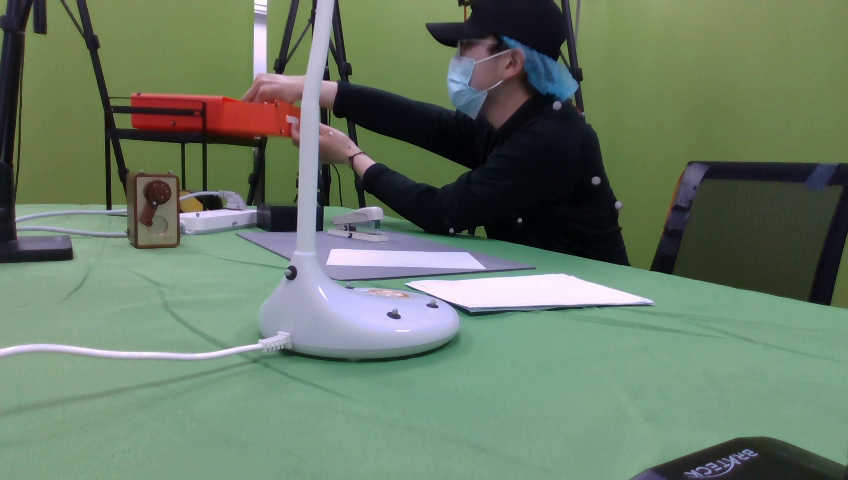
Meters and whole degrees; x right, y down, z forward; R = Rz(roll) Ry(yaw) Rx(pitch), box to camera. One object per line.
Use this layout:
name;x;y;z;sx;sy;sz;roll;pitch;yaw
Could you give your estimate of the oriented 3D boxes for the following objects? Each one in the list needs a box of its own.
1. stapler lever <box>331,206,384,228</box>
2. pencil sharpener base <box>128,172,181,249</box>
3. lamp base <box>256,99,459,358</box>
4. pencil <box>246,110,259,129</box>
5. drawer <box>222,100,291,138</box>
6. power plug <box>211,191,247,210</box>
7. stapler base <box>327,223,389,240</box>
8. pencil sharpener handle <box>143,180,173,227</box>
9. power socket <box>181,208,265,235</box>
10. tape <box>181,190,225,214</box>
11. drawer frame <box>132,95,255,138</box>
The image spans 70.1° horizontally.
stapler lever;-0.118;-0.043;1.070;0.117;0.040;0.027;7;8;41
pencil sharpener base;-0.395;-0.044;0.887;0.062;0.107;0.076;-2;9;-34
lamp base;-0.055;-0.013;0.463;0.160;0.180;0.180;6;11;27
pencil;-0.380;-0.269;1.343;0.012;0.012;0.193;-1;0;-22
drawer;-0.390;-0.271;1.361;0.211;0.073;0.195;3;8;10
power plug;-0.386;-0.071;1.204;0.072;0.052;0.035;7;9;27
stapler base;-0.117;-0.018;1.073;0.130;0.024;0.041;7;8;41
pencil sharpener handle;-0.371;-0.050;0.840;0.036;0.067;0.030;24;-6;-34
power socket;-0.381;-0.038;1.129;0.072;0.032;0.227;4;8;17
tape;-0.515;-0.086;1.388;0.117;0.052;0.117;4;7;0
drawer frame;-0.506;-0.280;1.377;0.213;0.082;0.202;3;8;8
